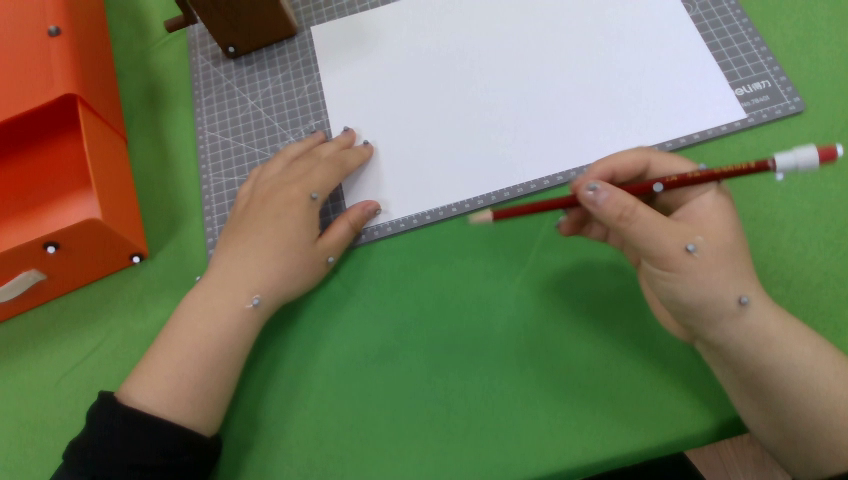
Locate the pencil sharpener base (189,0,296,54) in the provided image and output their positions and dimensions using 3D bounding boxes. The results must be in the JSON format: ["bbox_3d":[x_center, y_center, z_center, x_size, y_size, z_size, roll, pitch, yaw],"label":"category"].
[{"bbox_3d":[-0.164,-0.219,0.502,0.077,0.108,0.061,-22,64,1],"label":"pencil sharpener base"}]

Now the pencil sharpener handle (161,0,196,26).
[{"bbox_3d":[-0.213,-0.204,0.491,0.030,0.068,0.035,-22,61,1],"label":"pencil sharpener handle"}]

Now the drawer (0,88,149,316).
[{"bbox_3d":[-0.340,-0.049,0.479,0.194,0.074,0.210,-24,64,0],"label":"drawer"}]

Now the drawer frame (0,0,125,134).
[{"bbox_3d":[-0.383,-0.146,0.528,0.202,0.083,0.211,-23,64,0],"label":"drawer frame"}]

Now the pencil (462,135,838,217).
[{"bbox_3d":[0.114,-0.031,0.328,0.193,0.012,0.012,-11,65,14],"label":"pencil"}]
